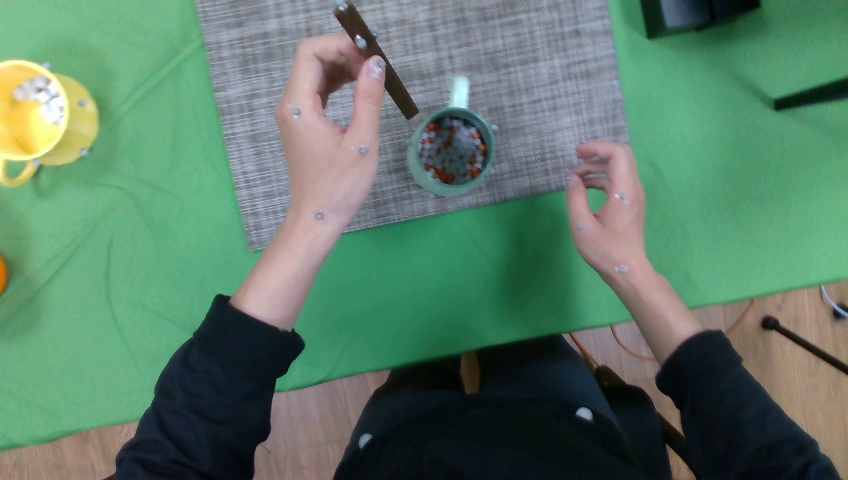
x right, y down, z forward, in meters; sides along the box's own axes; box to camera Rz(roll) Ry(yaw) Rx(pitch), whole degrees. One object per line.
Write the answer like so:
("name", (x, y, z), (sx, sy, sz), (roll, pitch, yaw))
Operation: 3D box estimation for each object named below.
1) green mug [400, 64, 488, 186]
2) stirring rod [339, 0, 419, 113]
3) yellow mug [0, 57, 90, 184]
("green mug", (0.023, -0.120, 0.635), (0.092, 0.105, 0.125), (4, 94, -3))
("stirring rod", (-0.028, -0.130, 0.452), (0.014, 0.177, 0.006), (-37, 76, 5))
("yellow mug", (-0.422, -0.120, 0.634), (0.100, 0.064, 0.131), (20, 94, -5))
